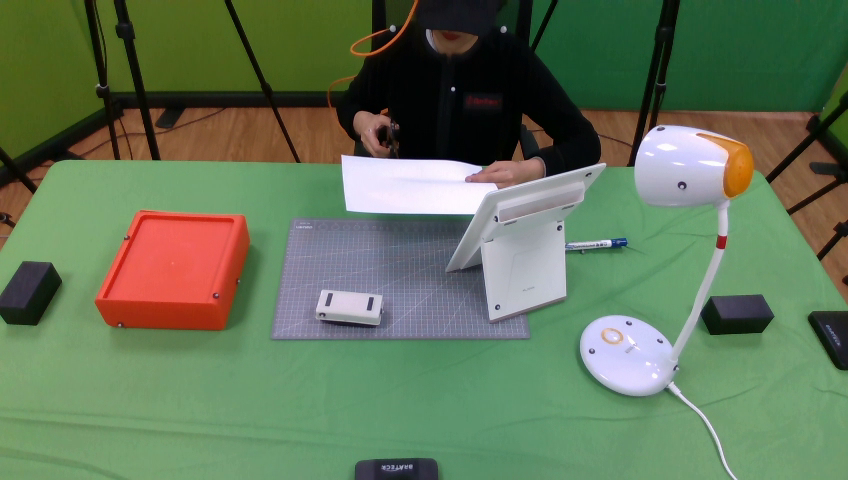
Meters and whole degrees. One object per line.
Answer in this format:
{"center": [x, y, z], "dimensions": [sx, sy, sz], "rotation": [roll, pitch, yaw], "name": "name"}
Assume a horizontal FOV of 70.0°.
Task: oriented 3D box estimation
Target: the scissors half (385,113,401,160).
{"center": [-0.065, -0.225, 1.319], "dimensions": [0.013, 0.040, 0.174], "rotation": [-2, 44, -14], "name": "scissors half"}

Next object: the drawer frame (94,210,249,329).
{"center": [-0.434, 0.048, 1.076], "dimensions": [0.202, 0.083, 0.212], "rotation": [2, 47, -3], "name": "drawer frame"}

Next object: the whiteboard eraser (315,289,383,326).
{"center": [-0.130, 0.119, 1.054], "dimensions": [0.113, 0.042, 0.055], "rotation": [6, 47, 1], "name": "whiteboard eraser"}

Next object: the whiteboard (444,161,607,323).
{"center": [0.186, 0.025, 1.029], "dimensions": [0.217, 0.306, 0.143], "rotation": [-14, 68, -18], "name": "whiteboard"}

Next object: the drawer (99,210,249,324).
{"center": [-0.435, 0.044, 1.081], "dimensions": [0.194, 0.073, 0.210], "rotation": [3, 47, -2], "name": "drawer"}

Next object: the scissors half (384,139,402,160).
{"center": [-0.067, -0.202, 1.329], "dimensions": [0.013, 0.040, 0.175], "rotation": [-6, 3, -13], "name": "scissors half"}

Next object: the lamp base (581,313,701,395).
{"center": [0.361, 0.144, 0.972], "dimensions": [0.178, 0.181, 0.160], "rotation": [34, 53, 23], "name": "lamp base"}

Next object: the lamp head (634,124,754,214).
{"center": [0.351, -0.089, 0.776], "dimensions": [0.112, 0.113, 0.122], "rotation": [-30, 30, -28], "name": "lamp head"}

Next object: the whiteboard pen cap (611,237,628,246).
{"center": [0.390, 0.004, 1.215], "dimensions": [0.033, 0.018, 0.018], "rotation": [-7, 47, -2], "name": "whiteboard pen cap"}

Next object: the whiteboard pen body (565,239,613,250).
{"center": [0.331, 0.008, 1.211], "dimensions": [0.141, 0.017, 0.017], "rotation": [-5, 47, -4], "name": "whiteboard pen body"}
